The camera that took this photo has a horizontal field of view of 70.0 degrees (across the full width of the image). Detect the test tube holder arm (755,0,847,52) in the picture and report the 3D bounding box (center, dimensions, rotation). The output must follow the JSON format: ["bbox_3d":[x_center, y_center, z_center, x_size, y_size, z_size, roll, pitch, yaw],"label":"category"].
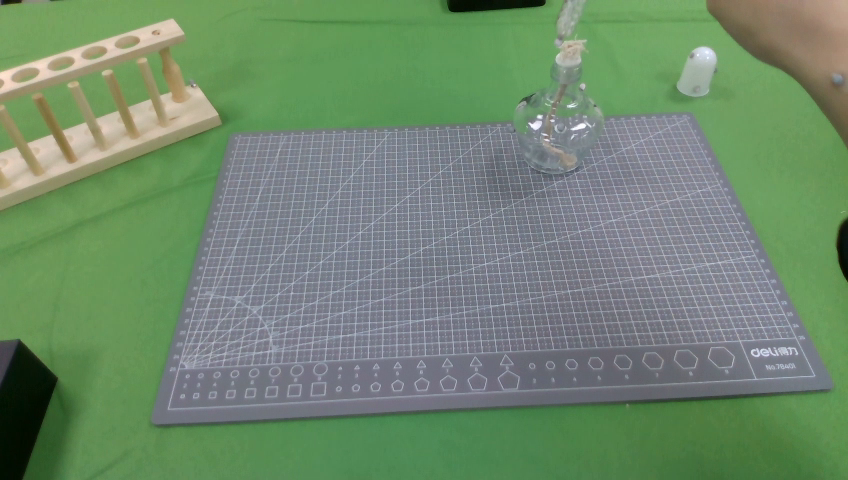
[{"bbox_3d":[0.170,-0.161,0.355,0.177,0.015,0.013,36,53,13],"label":"test tube holder arm"}]

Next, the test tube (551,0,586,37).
[{"bbox_3d":[0.112,-0.193,0.373,0.017,0.151,0.017,9,49,-10],"label":"test tube"}]

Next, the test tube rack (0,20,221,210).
[{"bbox_3d":[-0.321,-0.110,0.546,0.242,0.086,0.066,-27,53,-20],"label":"test tube rack"}]

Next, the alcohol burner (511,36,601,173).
[{"bbox_3d":[0.115,-0.117,0.515,0.078,0.120,0.077,0,47,1],"label":"alcohol burner"}]

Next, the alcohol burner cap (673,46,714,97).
[{"bbox_3d":[0.273,-0.171,0.609,0.034,0.048,0.033,-2,49,2],"label":"alcohol burner cap"}]
